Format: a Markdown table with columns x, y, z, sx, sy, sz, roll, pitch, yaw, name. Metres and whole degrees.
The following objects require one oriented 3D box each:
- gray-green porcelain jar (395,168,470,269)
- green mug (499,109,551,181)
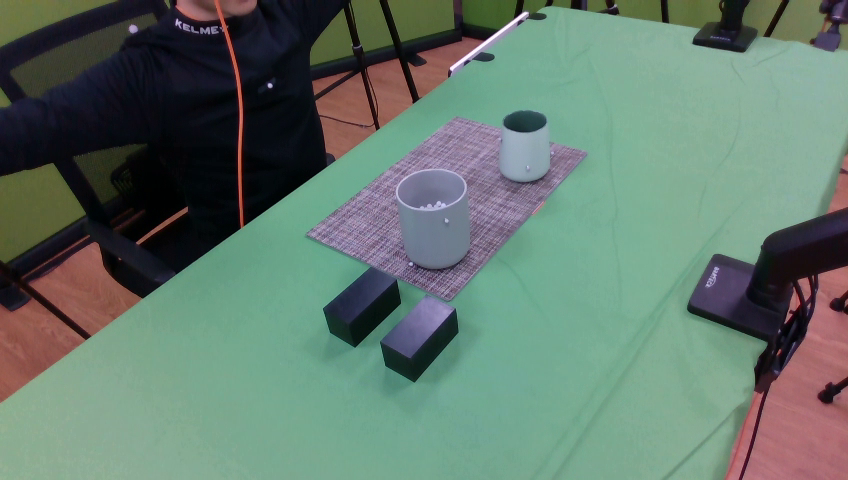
| x | y | z | sx | sy | sz | roll | pitch | yaw | name |
| --- | --- | --- | --- | --- | --- | --- | --- | --- | --- |
| 0.016 | -0.028 | 0.913 | 0.106 | 0.127 | 0.105 | -4 | 41 | 4 | gray-green porcelain jar |
| 0.172 | -0.176 | 1.078 | 0.093 | 0.105 | 0.124 | -17 | 42 | -10 | green mug |
